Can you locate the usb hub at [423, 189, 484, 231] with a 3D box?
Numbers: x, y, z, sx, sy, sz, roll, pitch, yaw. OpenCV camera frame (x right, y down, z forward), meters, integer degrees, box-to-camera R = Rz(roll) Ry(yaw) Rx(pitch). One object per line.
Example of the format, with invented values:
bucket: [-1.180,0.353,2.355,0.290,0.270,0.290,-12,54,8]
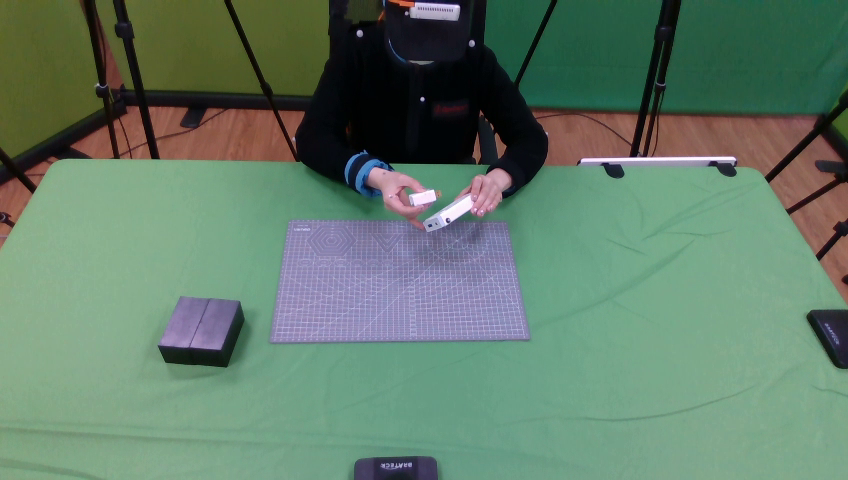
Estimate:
usb hub: [0.057,-0.056,1.143,0.125,0.049,0.025,-34,100,-36]

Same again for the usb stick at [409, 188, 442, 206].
usb stick: [0.004,-0.082,1.121,0.059,0.021,0.027,-18,14,-12]
